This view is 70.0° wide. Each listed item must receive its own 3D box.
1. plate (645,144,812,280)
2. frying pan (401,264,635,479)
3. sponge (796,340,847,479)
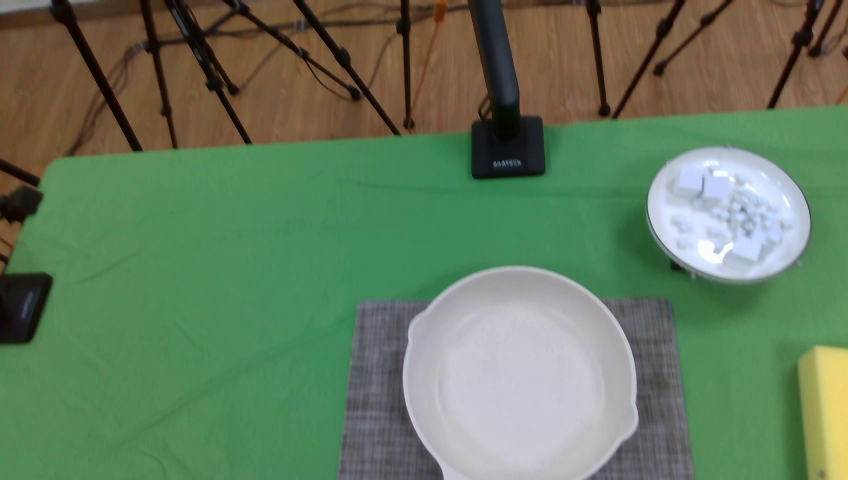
[{"bbox_3d":[0.408,-0.037,0.825,0.207,0.039,0.206,-3,62,6],"label":"plate"},{"bbox_3d":[0.068,0.251,0.744,0.305,0.104,0.486,22,60,21],"label":"frying pan"},{"bbox_3d":[0.516,0.230,0.706,0.118,0.061,0.205,5,64,12],"label":"sponge"}]
